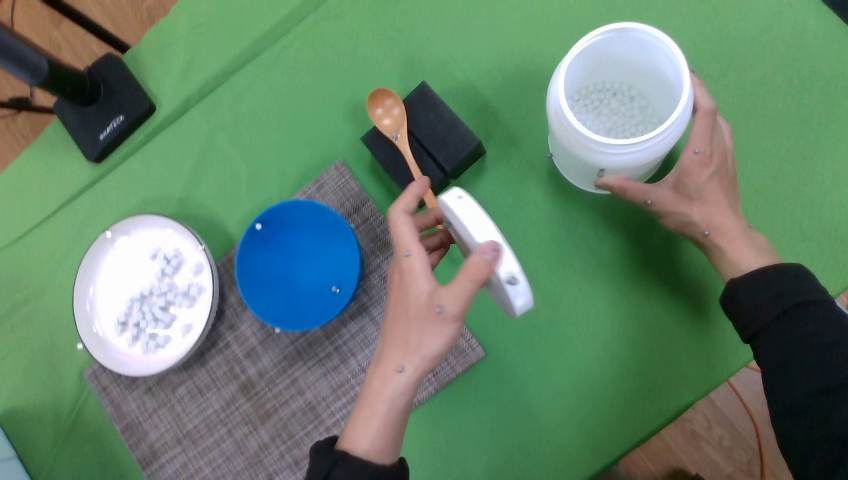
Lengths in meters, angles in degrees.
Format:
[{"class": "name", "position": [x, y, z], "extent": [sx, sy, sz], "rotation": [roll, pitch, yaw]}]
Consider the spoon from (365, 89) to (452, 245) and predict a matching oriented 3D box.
[{"class": "spoon", "position": [-0.014, -0.081, 0.683], "extent": [0.041, 0.022, 0.193], "rotation": [-26, 85, 3]}]

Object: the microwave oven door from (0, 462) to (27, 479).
[{"class": "microwave oven door", "position": [-0.466, 0.422, 0.651], "extent": [0.039, 0.245, 0.354], "rotation": [-41, 78, 6]}]

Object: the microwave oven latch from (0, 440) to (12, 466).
[{"class": "microwave oven latch", "position": [-0.578, 0.266, 0.793], "extent": [0.030, 0.029, 0.079], "rotation": [-40, 79, 5]}]

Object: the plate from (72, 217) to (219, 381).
[{"class": "plate", "position": [-0.352, 0.075, 0.777], "extent": [0.208, 0.038, 0.208], "rotation": [-2, 82, 14]}]

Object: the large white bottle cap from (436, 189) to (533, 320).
[{"class": "large white bottle cap", "position": [0.047, 0.012, 0.484], "extent": [0.018, 0.115, 0.114], "rotation": [-32, 79, -6]}]

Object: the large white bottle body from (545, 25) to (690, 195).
[{"class": "large white bottle body", "position": [0.187, -0.124, 0.605], "extent": [0.130, 0.185, 0.130], "rotation": [-1, 84, 12]}]

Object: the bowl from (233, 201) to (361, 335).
[{"class": "bowl", "position": [-0.136, 0.034, 0.713], "extent": [0.151, 0.077, 0.151], "rotation": [-1, 85, 12]}]
